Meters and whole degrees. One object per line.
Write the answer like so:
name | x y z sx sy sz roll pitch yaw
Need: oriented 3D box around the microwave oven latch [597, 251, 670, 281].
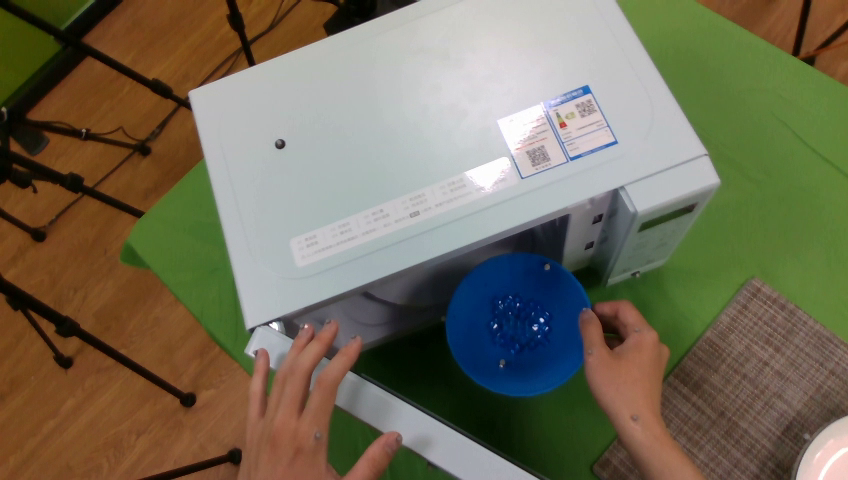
microwave oven latch | 0.250 0.022 0.725 0.079 0.030 0.030 -20 69 2

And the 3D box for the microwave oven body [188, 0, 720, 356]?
microwave oven body | 0.021 -0.075 0.690 0.442 0.262 0.323 -21 69 2

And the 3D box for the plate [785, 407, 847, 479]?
plate | 0.476 0.273 0.617 0.207 0.039 0.206 -3 71 8

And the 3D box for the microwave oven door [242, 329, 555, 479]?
microwave oven door | 0.017 0.194 0.592 0.354 0.245 0.039 24 76 16

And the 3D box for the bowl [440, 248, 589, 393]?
bowl | 0.096 0.093 0.646 0.151 0.077 0.150 -3 68 8
